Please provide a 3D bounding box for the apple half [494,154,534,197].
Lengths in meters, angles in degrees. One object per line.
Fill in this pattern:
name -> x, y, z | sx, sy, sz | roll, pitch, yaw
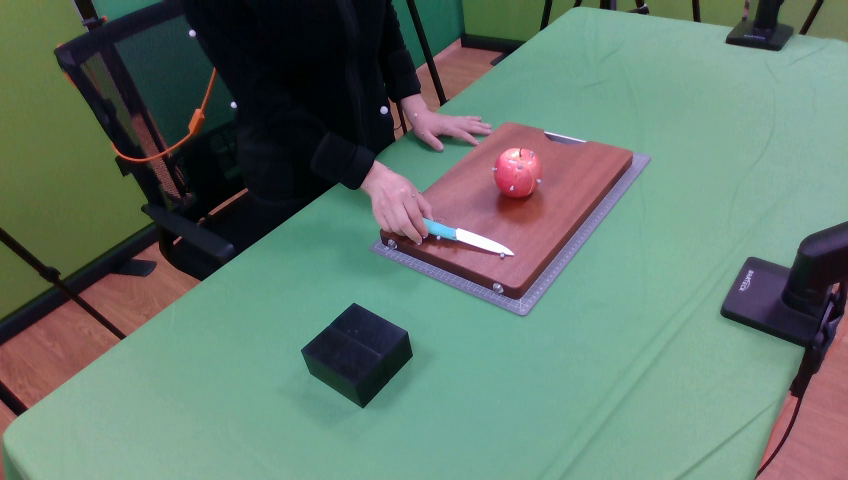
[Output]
apple half -> 0.140, -0.098, 0.989 | 0.080, 0.081, 0.033 | 26, 50, 35

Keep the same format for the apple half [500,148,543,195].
apple half -> 0.166, -0.118, 1.010 | 0.080, 0.075, 0.053 | 23, 46, 38

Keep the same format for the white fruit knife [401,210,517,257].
white fruit knife -> 0.049, -0.009, 0.942 | 0.206, 0.016, 0.027 | 19, 50, 23
